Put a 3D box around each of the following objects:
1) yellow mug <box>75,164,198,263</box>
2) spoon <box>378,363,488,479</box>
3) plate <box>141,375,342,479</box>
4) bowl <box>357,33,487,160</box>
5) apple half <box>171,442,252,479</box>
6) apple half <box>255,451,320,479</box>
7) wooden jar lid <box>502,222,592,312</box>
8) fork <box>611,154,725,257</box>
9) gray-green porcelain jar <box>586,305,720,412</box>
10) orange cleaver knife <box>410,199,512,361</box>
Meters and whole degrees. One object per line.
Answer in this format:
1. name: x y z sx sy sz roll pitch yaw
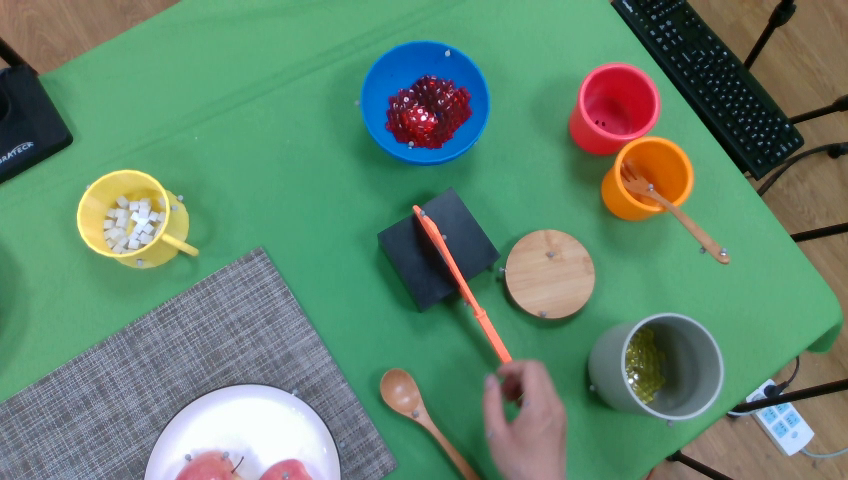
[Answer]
1. yellow mug: -0.317 -0.021 0.689 0.131 0.064 0.099 28 78 1
2. spoon: 0.016 0.217 0.683 0.193 0.022 0.041 47 54 6
3. plate: -0.192 0.251 0.652 0.209 0.038 0.208 1 79 -4
4. bowl: -0.004 -0.159 0.728 0.151 0.077 0.150 1 79 -3
5. apple half: -0.229 0.258 0.633 0.074 0.053 0.080 -36 83 -7
6. apple half: -0.149 0.270 0.645 0.081 0.033 0.081 0 76 -1
7. wooden jar lid: 0.147 0.033 0.729 0.108 0.021 0.108 0 80 -2
8. fork: 0.271 -0.044 0.684 0.028 0.019 0.205 -17 37 -6
9. gray-green porcelain jar: 0.240 0.130 0.661 0.106 0.127 0.105 1 78 -3
10. orange cleaver knife: 0.041 0.046 0.688 0.012 0.076 0.212 -32 106 -6
